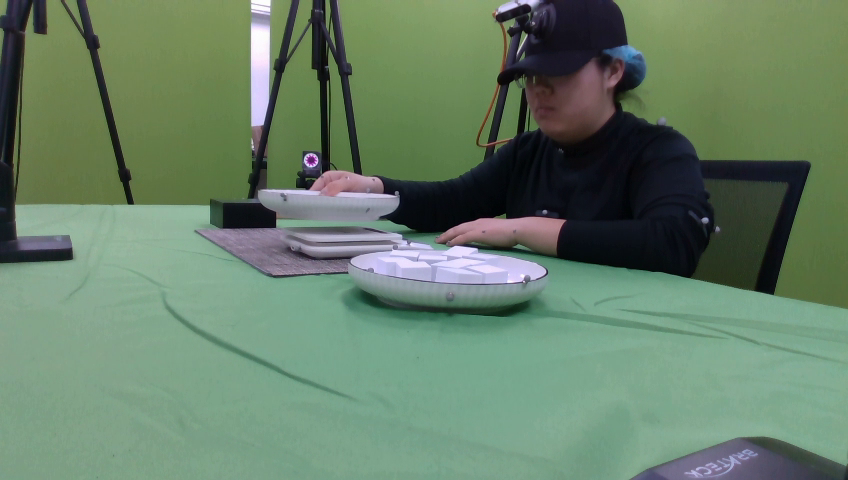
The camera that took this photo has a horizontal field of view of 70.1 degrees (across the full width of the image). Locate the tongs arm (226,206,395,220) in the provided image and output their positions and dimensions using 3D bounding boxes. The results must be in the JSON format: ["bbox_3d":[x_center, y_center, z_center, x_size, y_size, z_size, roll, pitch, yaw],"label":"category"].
[{"bbox_3d":[-0.247,-0.061,1.381,0.389,0.028,0.028,0,5,-21],"label":"tongs arm"}]

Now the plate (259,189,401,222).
[{"bbox_3d":[-0.137,-0.051,0.897,0.208,0.039,0.207,3,6,0],"label":"plate"}]

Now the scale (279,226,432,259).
[{"bbox_3d":[-0.100,0.001,0.899,0.202,0.031,0.148,-1,9,-31],"label":"scale"}]

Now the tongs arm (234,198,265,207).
[{"bbox_3d":[-0.263,-0.076,1.459,0.386,0.026,0.050,3,8,-8],"label":"tongs arm"}]

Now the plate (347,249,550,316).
[{"bbox_3d":[0.025,0.042,0.627,0.209,0.038,0.209,2,7,0],"label":"plate"}]
